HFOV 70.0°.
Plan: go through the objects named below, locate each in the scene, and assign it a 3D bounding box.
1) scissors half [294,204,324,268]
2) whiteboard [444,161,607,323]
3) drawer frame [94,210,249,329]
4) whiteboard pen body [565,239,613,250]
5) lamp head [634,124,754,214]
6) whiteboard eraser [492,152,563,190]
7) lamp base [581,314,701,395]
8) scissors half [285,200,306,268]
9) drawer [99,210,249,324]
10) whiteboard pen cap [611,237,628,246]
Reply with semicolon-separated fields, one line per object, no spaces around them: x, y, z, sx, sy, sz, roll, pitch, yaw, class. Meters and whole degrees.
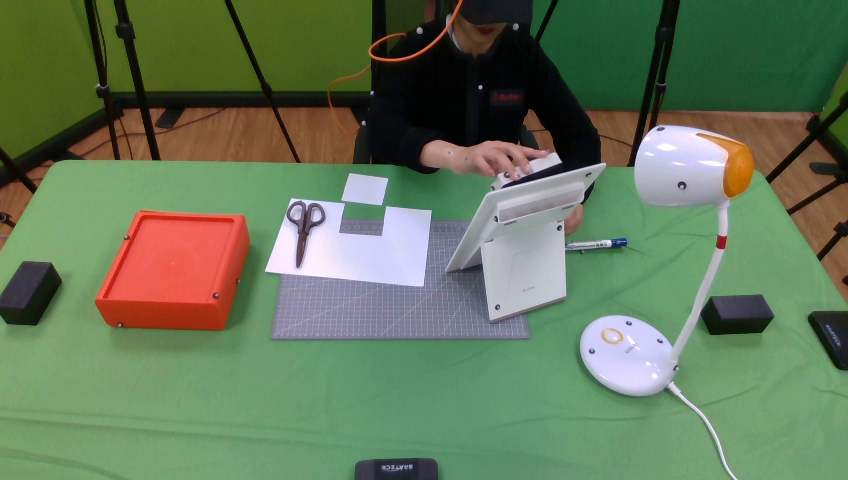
-0.231;-0.009;1.197;0.040;0.013;0.174;21;45;-8;scissors half
0.186;0.025;1.029;0.217;0.306;0.143;-14;68;-18;whiteboard
-0.435;0.048;1.076;0.202;0.083;0.212;2;47;-3;drawer frame
0.331;0.008;1.212;0.141;0.017;0.017;-5;47;-4;whiteboard pen body
0.351;-0.089;0.776;0.112;0.113;0.122;-30;30;-28;lamp head
0.169;-0.103;0.986;0.113;0.055;0.041;-21;82;-15;whiteboard eraser
0.361;0.144;0.973;0.178;0.181;0.160;34;53;23;lamp base
-0.251;-0.014;1.192;0.040;0.013;0.174;3;49;-18;scissors half
-0.435;0.044;1.082;0.194;0.073;0.210;3;47;-2;drawer
0.390;0.004;1.215;0.033;0.018;0.018;-7;47;-2;whiteboard pen cap
